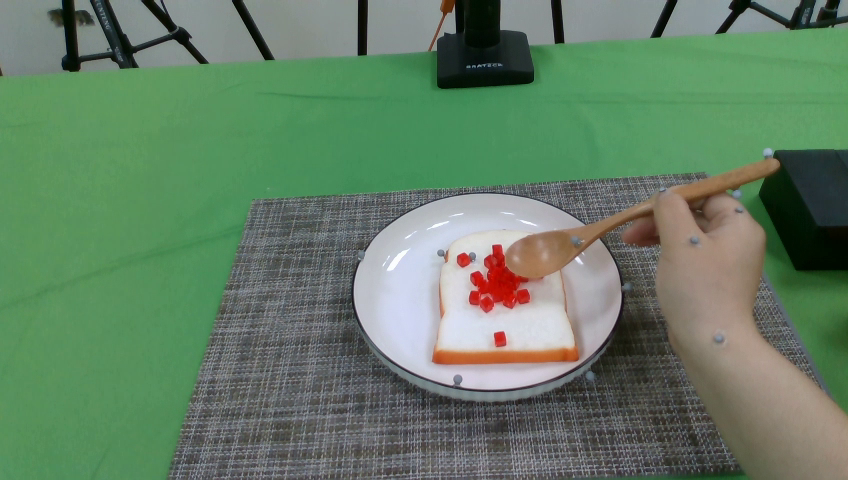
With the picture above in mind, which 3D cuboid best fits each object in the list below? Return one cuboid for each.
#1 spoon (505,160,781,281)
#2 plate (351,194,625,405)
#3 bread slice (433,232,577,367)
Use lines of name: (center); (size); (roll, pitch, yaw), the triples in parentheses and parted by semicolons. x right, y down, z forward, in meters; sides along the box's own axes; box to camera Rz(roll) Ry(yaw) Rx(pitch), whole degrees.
spoon: (0.146, -0.013, 0.426); (0.193, 0.022, 0.041); (-25, 42, 27)
plate: (0.048, 0.042, 0.479); (0.209, 0.038, 0.207); (-3, 44, 3)
bread slice: (0.060, 0.043, 0.481); (0.105, 0.019, 0.130); (-1, 45, 3)
